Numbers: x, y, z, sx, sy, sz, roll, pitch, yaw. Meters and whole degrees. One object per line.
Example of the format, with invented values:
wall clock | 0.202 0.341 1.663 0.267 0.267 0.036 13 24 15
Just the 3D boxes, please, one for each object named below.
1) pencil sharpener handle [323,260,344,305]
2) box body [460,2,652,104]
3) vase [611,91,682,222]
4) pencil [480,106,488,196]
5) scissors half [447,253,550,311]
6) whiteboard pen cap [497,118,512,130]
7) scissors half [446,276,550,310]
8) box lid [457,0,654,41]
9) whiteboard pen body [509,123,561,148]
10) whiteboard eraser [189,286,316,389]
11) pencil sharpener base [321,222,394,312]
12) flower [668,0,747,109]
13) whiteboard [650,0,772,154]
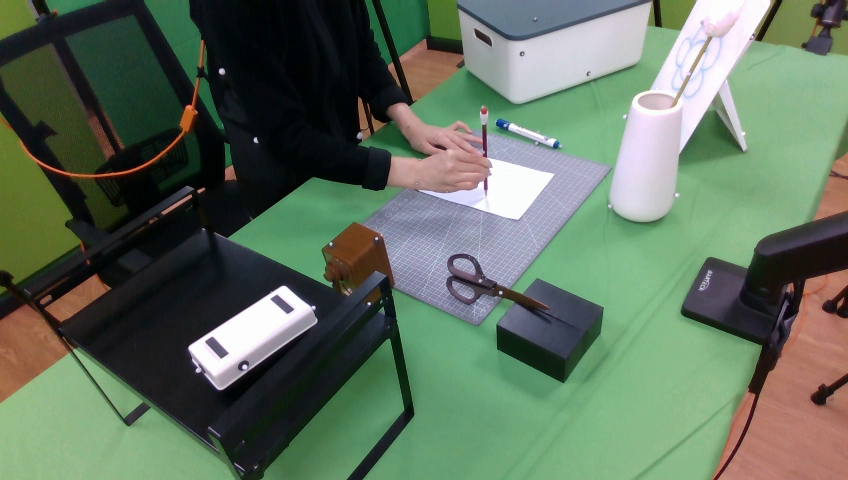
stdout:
pencil sharpener handle | -0.131 0.062 0.839 0.035 0.068 0.031 29 55 28
box body | 0.291 -0.465 1.371 0.365 0.161 0.252 -22 42 -16
vase | 0.348 -0.125 0.935 0.098 0.201 0.097 -3 40 3
pencil | 0.099 -0.138 0.985 0.012 0.195 0.012 -3 51 4
scissors half | 0.098 0.058 0.821 0.173 0.040 0.013 28 33 36
whiteboard pen cap | 0.165 -0.235 1.227 0.033 0.018 0.018 31 53 31
scissors half | 0.098 0.077 0.827 0.174 0.040 0.013 6 14 44
box lid | 0.285 -0.522 1.323 0.373 0.015 0.261 -22 43 -16
whiteboard pen body | 0.209 -0.211 1.196 0.139 0.017 0.017 30 52 33
whiteboard eraser | -0.166 0.096 0.593 0.113 0.042 0.055 -36 47 -29
pencil sharpener base | -0.096 0.041 0.873 0.061 0.107 0.077 25 54 32
flower | 0.354 -0.187 0.879 0.038 0.362 0.044 30 48 14
whiteboard | 0.543 -0.298 1.076 0.144 0.305 0.216 12 40 -7
